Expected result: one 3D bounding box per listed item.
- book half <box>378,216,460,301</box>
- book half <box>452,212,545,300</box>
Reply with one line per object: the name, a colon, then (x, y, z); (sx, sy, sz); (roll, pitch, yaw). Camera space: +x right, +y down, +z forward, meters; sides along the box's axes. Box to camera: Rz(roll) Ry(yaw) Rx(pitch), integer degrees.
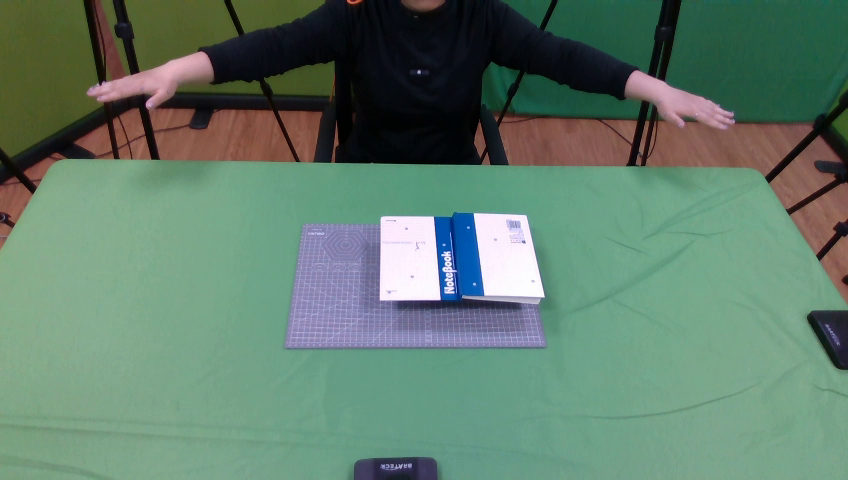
book half: (-0.011, 0.029, 1.110); (0.143, 0.007, 0.208); (0, 46, -4)
book half: (0.132, 0.026, 1.116); (0.149, 0.016, 0.209); (2, 45, -5)
